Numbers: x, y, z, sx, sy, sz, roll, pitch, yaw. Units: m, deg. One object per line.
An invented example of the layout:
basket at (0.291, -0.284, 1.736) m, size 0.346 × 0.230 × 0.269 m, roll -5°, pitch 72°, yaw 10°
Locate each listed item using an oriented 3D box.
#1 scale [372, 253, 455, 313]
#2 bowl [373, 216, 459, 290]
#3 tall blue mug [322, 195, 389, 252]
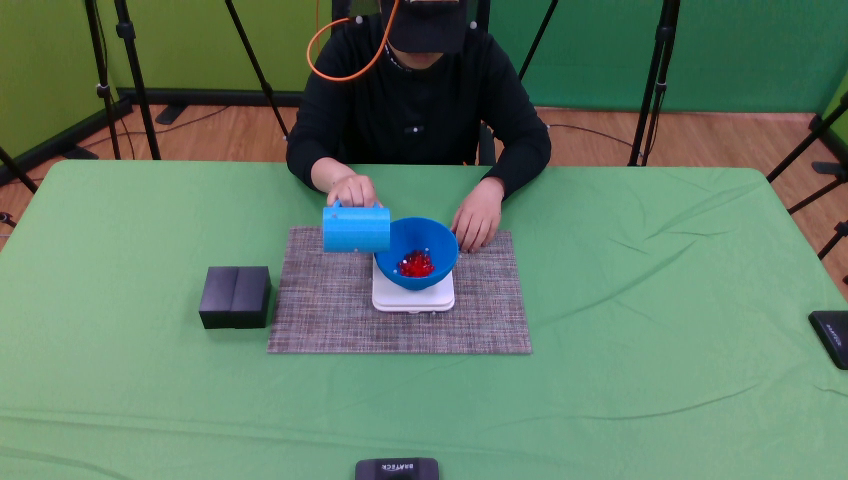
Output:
scale at (-0.022, 0.051, 1.134) m, size 0.149 × 0.032 × 0.199 m, roll 1°, pitch 46°, yaw -4°
bowl at (-0.015, 0.036, 1.075) m, size 0.151 × 0.077 × 0.150 m, roll 2°, pitch 46°, yaw -1°
tall blue mug at (-0.114, -0.033, 1.009) m, size 0.108 × 0.078 × 0.107 m, roll 0°, pitch 77°, yaw -8°
